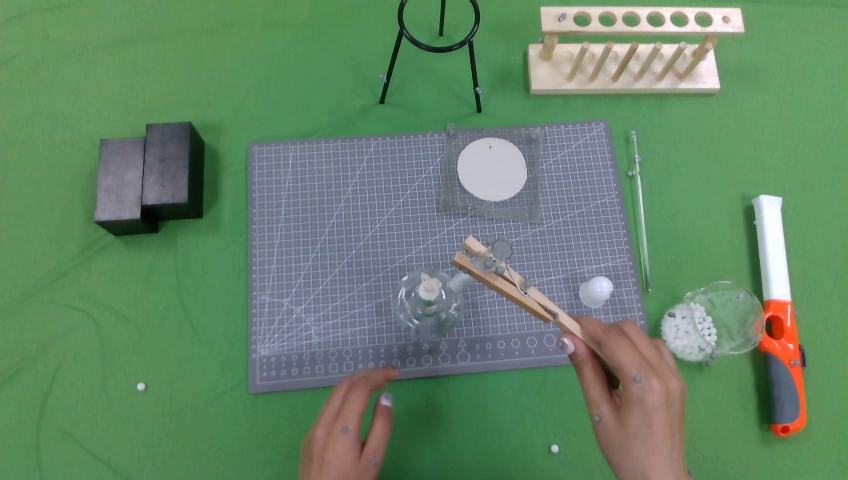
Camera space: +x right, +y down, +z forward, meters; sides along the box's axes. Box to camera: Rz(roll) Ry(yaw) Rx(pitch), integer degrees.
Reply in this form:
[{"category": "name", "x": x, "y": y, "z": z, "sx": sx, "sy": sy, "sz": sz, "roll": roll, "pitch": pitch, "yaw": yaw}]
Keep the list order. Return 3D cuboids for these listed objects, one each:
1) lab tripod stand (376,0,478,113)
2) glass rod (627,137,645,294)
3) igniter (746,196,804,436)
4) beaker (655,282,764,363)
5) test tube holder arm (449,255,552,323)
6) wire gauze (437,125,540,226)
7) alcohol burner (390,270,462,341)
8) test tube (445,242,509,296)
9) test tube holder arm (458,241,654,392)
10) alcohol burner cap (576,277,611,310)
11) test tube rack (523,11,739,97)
[{"category": "lab tripod stand", "x": 0.008, "y": -0.218, "z": 0.717, "sx": 0.148, "sy": 0.132, "sz": 0.147, "roll": 1, "pitch": 75, "yaw": -2}, {"category": "glass rod", "x": 0.257, "y": -0.033, "z": 0.734, "sx": 0.008, "sy": 0.008, "sz": 0.198, "roll": 1, "pitch": 75, "yaw": -2}, {"category": "igniter", "x": 0.400, "y": 0.081, "z": 0.694, "sx": 0.057, "sy": 0.025, "sz": 0.275, "roll": 6, "pitch": 73, "yaw": -10}, {"category": "beaker", "x": 0.297, "y": 0.091, "z": 0.651, "sx": 0.084, "sy": 0.101, "sz": 0.074, "roll": 26, "pitch": 73, "yaw": 8}, {"category": "test tube holder arm", "x": 0.059, "y": 0.037, "z": 0.458, "sx": 0.088, "sy": 0.015, "sz": 0.010, "roll": 30, "pitch": 80, "yaw": 0}, {"category": "wire gauze", "x": 0.081, "y": -0.082, "z": 0.741, "sx": 0.125, "sy": 0.011, "sz": 0.121, "roll": 7, "pitch": 74, "yaw": -1}, {"category": "alcohol burner", "x": 0.002, "y": 0.065, "z": 0.637, "sx": 0.078, "sy": 0.120, "sz": 0.077, "roll": 0, "pitch": 71, "yaw": 0}, {"category": "test tube", "x": 0.038, "y": 0.027, "z": 0.479, "sx": 0.017, "sy": 0.150, "sz": 0.017, "roll": 3, "pitch": 76, "yaw": -10}, {"category": "test tube holder arm", "x": 0.099, "y": 0.058, "z": 0.458, "sx": 0.178, "sy": 0.015, "sz": 0.013, "roll": 36, "pitch": 81, "yaw": 1}, {"category": "alcohol burner cap", "x": 0.194, "y": 0.058, "z": 0.684, "sx": 0.034, "sy": 0.048, "sz": 0.033, "roll": 1, "pitch": 73, "yaw": -1}, {"category": "test tube rack", "x": 0.253, "y": -0.230, "z": 0.755, "sx": 0.242, "sy": 0.085, "sz": 0.066, "roll": -1, "pitch": 73, "yaw": -2}]
